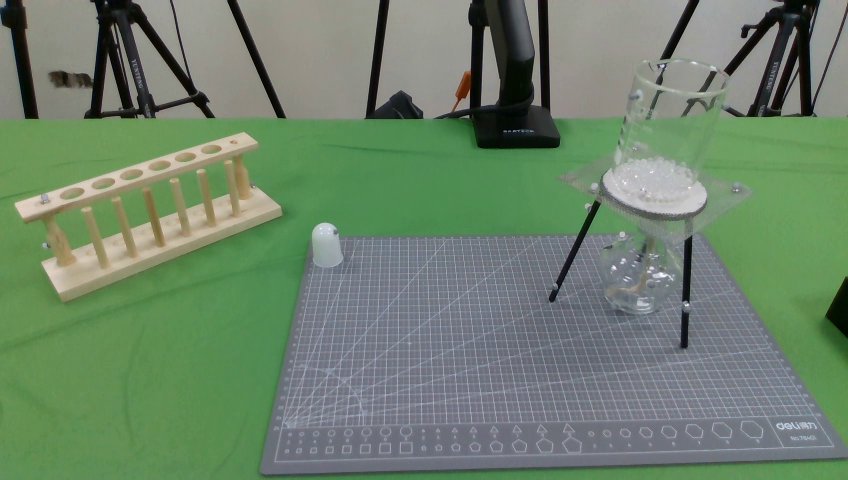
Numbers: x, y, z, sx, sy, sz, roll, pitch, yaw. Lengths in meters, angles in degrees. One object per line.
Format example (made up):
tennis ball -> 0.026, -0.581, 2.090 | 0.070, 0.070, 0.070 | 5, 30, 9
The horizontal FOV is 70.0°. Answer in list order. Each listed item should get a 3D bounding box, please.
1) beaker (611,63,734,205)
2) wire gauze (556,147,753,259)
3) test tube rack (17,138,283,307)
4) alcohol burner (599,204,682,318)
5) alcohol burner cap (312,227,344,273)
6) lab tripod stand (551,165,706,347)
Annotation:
beaker -> 0.198, -0.088, 0.503 | 0.074, 0.101, 0.083 | -5, 37, -8
wire gauze -> 0.197, -0.042, 0.523 | 0.121, 0.011, 0.124 | -25, 47, -29
test tube rack -> -0.281, -0.027, 0.654 | 0.242, 0.086, 0.066 | -26, 43, -32
alcohol burner -> 0.209, 0.015, 0.574 | 0.078, 0.120, 0.077 | 1, 38, 0
alcohol burner cap -> -0.103, 0.008, 0.641 | 0.034, 0.048, 0.033 | 1, 36, 0
lab tripod stand -> 0.201, 0.010, 0.563 | 0.148, 0.132, 0.147 | 2, 36, -1
